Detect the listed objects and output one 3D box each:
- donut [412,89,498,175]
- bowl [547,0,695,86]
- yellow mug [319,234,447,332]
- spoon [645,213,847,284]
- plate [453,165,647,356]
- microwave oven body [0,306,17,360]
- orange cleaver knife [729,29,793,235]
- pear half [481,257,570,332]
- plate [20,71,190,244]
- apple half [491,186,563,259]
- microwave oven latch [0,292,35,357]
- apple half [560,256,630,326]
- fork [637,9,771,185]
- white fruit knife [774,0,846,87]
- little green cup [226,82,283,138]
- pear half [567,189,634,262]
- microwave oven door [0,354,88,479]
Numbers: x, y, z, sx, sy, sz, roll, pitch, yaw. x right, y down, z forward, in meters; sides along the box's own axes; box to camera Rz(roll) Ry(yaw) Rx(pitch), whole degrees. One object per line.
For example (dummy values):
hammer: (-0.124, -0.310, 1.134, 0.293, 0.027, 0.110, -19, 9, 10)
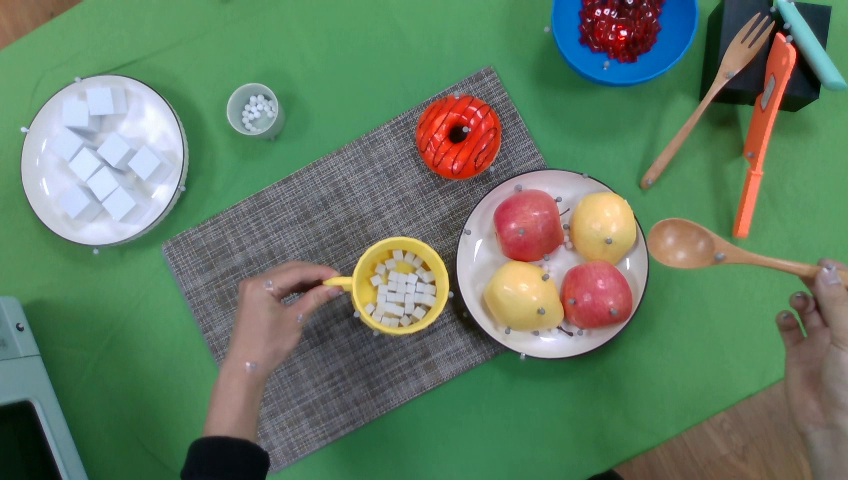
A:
donut: (0.035, -0.121, 0.686, 0.099, 0.048, 0.099, 0, 88, 8)
bowl: (0.207, -0.234, 0.664, 0.151, 0.077, 0.151, 0, 87, 5)
yellow mug: (-0.045, 0.047, 0.641, 0.131, 0.064, 0.099, 3, 81, -9)
spoon: (0.275, 0.016, 0.479, 0.193, 0.022, 0.041, 14, 85, 19)
plate: (0.137, 0.023, 0.670, 0.209, 0.038, 0.208, 0, 86, 5)
microwave oven body: (-0.558, 0.315, 0.605, 0.326, 0.261, 0.440, -26, 85, 3)
orange cleaver knife: (0.351, -0.111, 0.640, 0.012, 0.077, 0.212, 8, 113, 11)
pear half: (0.117, 0.067, 0.655, 0.110, 0.056, 0.076, 34, 95, 0)
plate: (-0.378, -0.097, 0.731, 0.207, 0.039, 0.207, 0, 86, 6)
apple half: (0.112, -0.019, 0.658, 0.074, 0.053, 0.080, -11, 88, 5)
microwave oven latch: (-0.489, 0.100, 0.710, 0.030, 0.029, 0.079, -25, 85, 3)
apple half: (0.177, 0.057, 0.647, 0.081, 0.033, 0.081, 2, 95, 28)
fork: (0.291, -0.146, 0.646, 0.028, 0.018, 0.208, 30, 110, -2)
white fruit knife: (0.375, -0.247, 0.631, 0.027, 0.016, 0.206, -23, 81, -26)
little green cup: (-0.198, -0.151, 0.717, 0.061, 0.039, 0.061, 0, 86, 6)
pear half: (0.187, -0.011, 0.653, 0.070, 0.031, 0.088, 3, 97, 29)
microwave oven door: (-0.409, 0.291, 0.587, 0.039, 0.244, 0.355, -26, 84, 3)
